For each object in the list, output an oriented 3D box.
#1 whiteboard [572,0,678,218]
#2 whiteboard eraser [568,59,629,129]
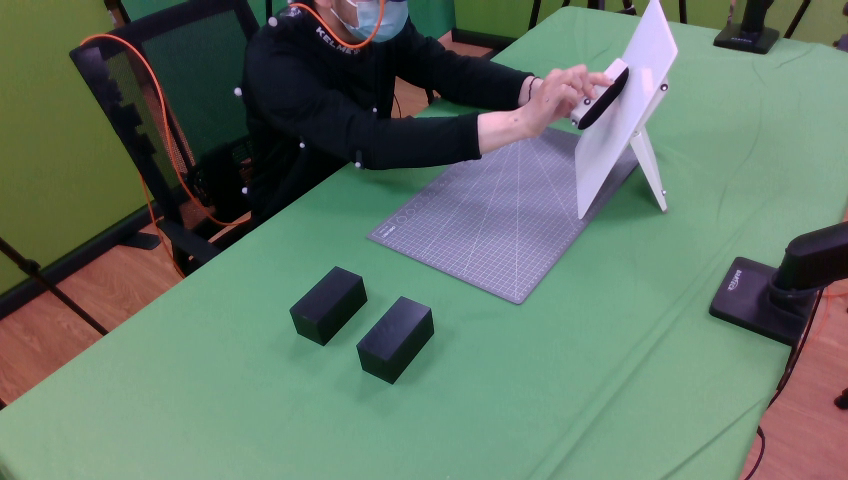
[{"bbox_3d":[0.367,-0.188,0.965,0.144,0.305,0.216,18,42,-3],"label":"whiteboard"},{"bbox_3d":[0.279,-0.228,0.957,0.041,0.056,0.112,40,91,11],"label":"whiteboard eraser"}]
